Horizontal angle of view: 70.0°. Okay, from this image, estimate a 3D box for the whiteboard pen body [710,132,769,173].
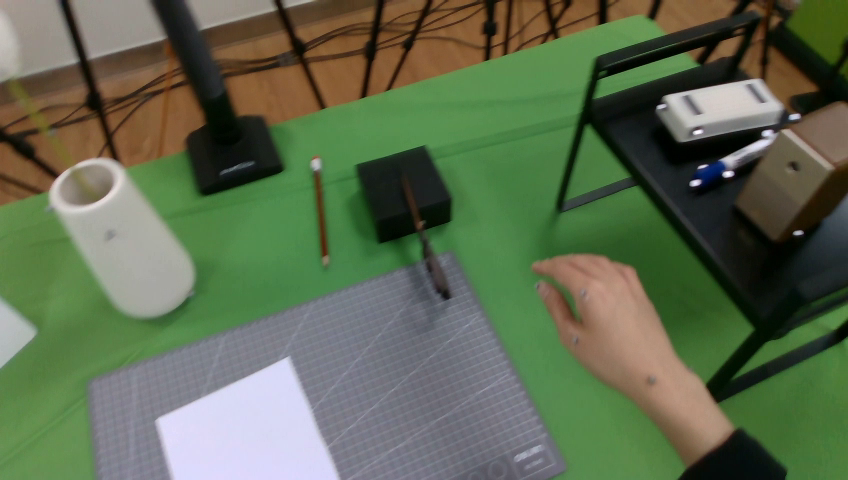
[{"bbox_3d":[0.332,-0.091,0.620,0.141,0.017,0.017,-25,57,-11],"label":"whiteboard pen body"}]

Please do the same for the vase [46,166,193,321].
[{"bbox_3d":[-0.334,0.009,0.674,0.098,0.202,0.097,-1,54,2],"label":"vase"}]

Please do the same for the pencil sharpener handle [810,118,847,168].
[{"bbox_3d":[0.385,-0.090,0.555,0.031,0.068,0.035,-24,70,-16],"label":"pencil sharpener handle"}]

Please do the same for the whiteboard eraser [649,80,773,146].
[{"bbox_3d":[0.302,-0.132,0.641,0.113,0.042,0.055,-12,57,-8],"label":"whiteboard eraser"}]

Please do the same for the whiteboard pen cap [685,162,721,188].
[{"bbox_3d":[0.280,-0.065,0.608,0.033,0.018,0.018,-25,57,-12],"label":"whiteboard pen cap"}]

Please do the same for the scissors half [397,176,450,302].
[{"bbox_3d":[-0.003,-0.004,0.753,0.013,0.040,0.174,-24,76,12],"label":"scissors half"}]

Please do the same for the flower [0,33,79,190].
[{"bbox_3d":[-0.348,-0.047,0.612,0.044,0.365,0.038,-26,41,-13],"label":"flower"}]

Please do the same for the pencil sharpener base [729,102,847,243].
[{"bbox_3d":[0.342,-0.060,0.550,0.077,0.108,0.060,-24,57,-16],"label":"pencil sharpener base"}]

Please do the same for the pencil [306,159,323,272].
[{"bbox_3d":[-0.147,-0.037,0.820,0.012,0.012,0.192,-10,56,-5],"label":"pencil"}]

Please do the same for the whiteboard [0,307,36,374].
[{"bbox_3d":[-0.615,0.071,0.606,0.143,0.309,0.216,15,54,35],"label":"whiteboard"}]

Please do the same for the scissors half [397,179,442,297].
[{"bbox_3d":[-0.010,-0.010,0.734,0.013,0.040,0.173,-23,58,7],"label":"scissors half"}]
